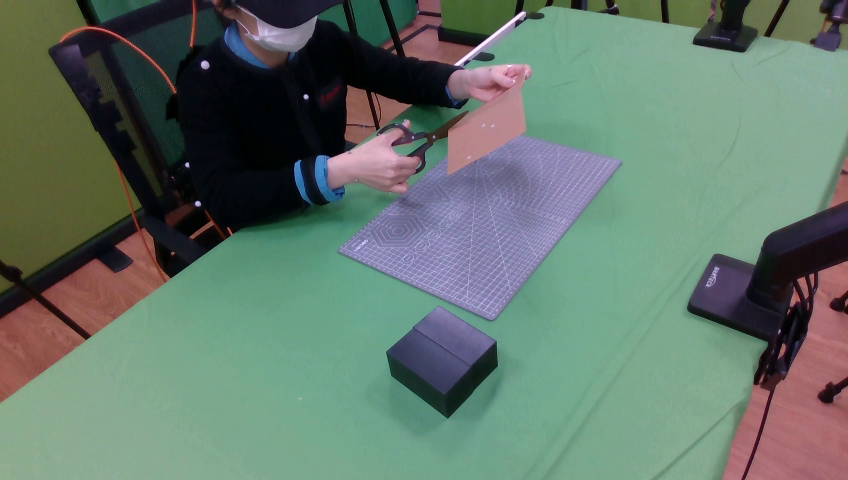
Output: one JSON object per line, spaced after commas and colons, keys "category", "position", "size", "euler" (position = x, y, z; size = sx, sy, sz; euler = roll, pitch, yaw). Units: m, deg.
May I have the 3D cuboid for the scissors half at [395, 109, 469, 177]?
{"category": "scissors half", "position": [0.014, -0.161, 1.012], "size": [0.040, 0.174, 0.013], "euler": [40, 34, -14]}

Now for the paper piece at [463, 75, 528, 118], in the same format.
{"category": "paper piece", "position": [0.111, -0.236, 1.024], "size": [0.135, 0.009, 0.138], "euler": [-25, 13, 24]}

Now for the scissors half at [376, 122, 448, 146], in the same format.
{"category": "scissors half", "position": [0.002, -0.180, 1.002], "size": [0.174, 0.040, 0.013], "euler": [-2, 38, 14]}

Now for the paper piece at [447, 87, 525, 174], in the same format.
{"category": "paper piece", "position": [0.090, -0.168, 0.913], "size": [0.135, 0.004, 0.135], "euler": [-27, 34, 24]}
